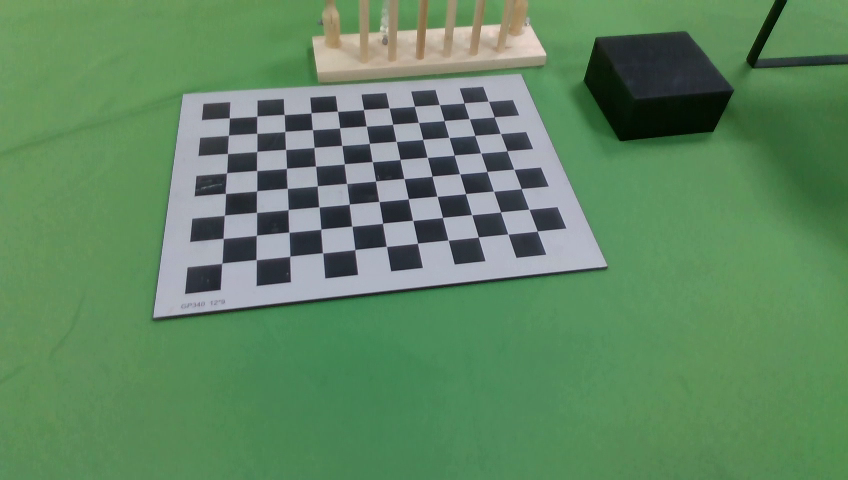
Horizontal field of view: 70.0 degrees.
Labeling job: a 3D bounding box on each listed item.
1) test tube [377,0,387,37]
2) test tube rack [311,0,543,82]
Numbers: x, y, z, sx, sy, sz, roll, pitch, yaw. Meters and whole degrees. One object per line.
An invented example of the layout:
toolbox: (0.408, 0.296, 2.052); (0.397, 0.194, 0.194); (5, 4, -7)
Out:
test tube: (-0.033, -0.265, 0.588); (0.017, 0.151, 0.017); (5, 50, -6)
test tube rack: (0.005, -0.227, 0.624); (0.243, 0.086, 0.066); (-7, 51, -9)
